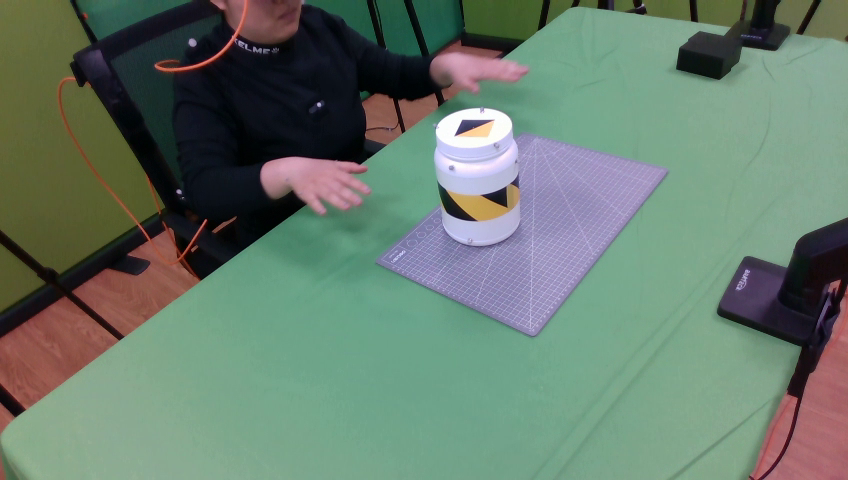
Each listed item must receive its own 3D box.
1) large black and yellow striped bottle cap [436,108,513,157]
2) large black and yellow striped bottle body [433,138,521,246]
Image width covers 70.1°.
[{"bbox_3d":[0.075,-0.162,0.898,0.115,0.019,0.114,-5,41,5],"label":"large black and yellow striped bottle cap"},{"bbox_3d":[0.085,-0.097,0.951,0.131,0.185,0.130,-5,40,5],"label":"large black and yellow striped bottle body"}]
